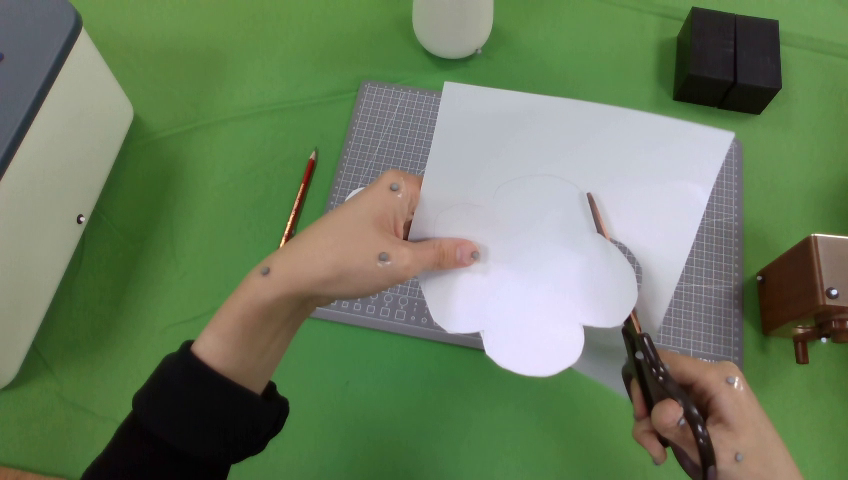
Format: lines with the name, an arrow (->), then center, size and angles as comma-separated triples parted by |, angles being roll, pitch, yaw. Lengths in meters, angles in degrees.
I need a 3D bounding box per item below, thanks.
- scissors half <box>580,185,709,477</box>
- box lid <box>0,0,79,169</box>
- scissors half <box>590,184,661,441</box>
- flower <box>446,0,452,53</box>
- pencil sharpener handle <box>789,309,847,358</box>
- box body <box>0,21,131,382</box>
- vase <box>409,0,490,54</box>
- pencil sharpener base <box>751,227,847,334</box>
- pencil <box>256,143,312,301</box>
scissors half -> 0.122, 0.050, 0.340 | 0.013, 0.040, 0.175 | -21, 86, -8
box lid -> -0.483, -0.089, 0.517 | 0.263, 0.015, 0.369 | 10, 68, 4
scissors half -> 0.119, 0.047, 0.362 | 0.013, 0.039, 0.176 | -20, 113, -3
flower -> 0.024, -0.347, 0.597 | 0.044, 0.365, 0.038 | 3, 49, 5
pencil sharpener handle -> 0.359, 0.086, 0.547 | 0.036, 0.068, 0.030 | 11, 67, -10
box body -> -0.483, -0.058, 0.586 | 0.254, 0.161, 0.361 | 10, 68, 4
vase -> 0.029, -0.302, 0.669 | 0.098, 0.201, 0.097 | 0, 66, 1
pencil sharpener base -> 0.369, 0.045, 0.577 | 0.061, 0.108, 0.076 | 6, 68, 2
pencil -> -0.149, -0.025, 0.658 | 0.012, 0.012, 0.193 | 11, 66, 5
